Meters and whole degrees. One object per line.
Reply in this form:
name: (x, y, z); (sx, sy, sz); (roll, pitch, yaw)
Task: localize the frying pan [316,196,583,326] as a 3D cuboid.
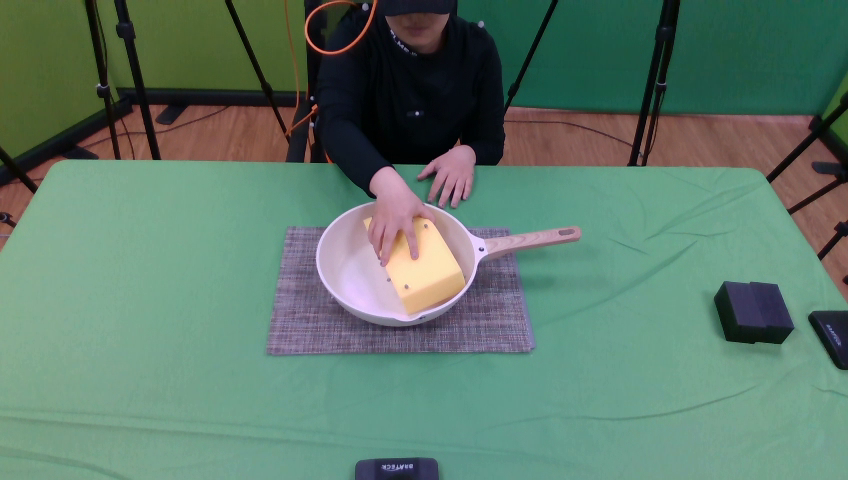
frying pan: (0.054, 0.027, 1.114); (0.488, 0.103, 0.304); (-9, 48, -1)

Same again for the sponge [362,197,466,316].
sponge: (-0.022, 0.026, 1.117); (0.118, 0.061, 0.205); (-26, 51, -6)
